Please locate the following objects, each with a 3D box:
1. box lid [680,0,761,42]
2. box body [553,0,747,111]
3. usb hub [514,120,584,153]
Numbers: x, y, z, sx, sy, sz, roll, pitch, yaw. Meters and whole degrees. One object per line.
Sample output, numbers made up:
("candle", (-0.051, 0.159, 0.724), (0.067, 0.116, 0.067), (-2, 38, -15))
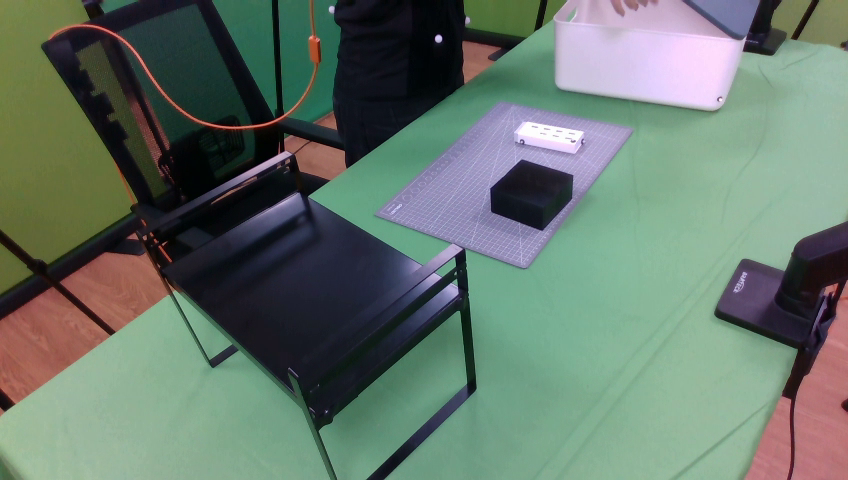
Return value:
("box lid", (0.485, -0.540, 1.159), (0.371, 0.015, 0.263), (39, 51, -1))
("box body", (0.480, -0.418, 1.282), (0.362, 0.161, 0.254), (16, 46, 25))
("usb hub", (0.241, -0.200, 1.165), (0.124, 0.025, 0.049), (17, 46, 26))
